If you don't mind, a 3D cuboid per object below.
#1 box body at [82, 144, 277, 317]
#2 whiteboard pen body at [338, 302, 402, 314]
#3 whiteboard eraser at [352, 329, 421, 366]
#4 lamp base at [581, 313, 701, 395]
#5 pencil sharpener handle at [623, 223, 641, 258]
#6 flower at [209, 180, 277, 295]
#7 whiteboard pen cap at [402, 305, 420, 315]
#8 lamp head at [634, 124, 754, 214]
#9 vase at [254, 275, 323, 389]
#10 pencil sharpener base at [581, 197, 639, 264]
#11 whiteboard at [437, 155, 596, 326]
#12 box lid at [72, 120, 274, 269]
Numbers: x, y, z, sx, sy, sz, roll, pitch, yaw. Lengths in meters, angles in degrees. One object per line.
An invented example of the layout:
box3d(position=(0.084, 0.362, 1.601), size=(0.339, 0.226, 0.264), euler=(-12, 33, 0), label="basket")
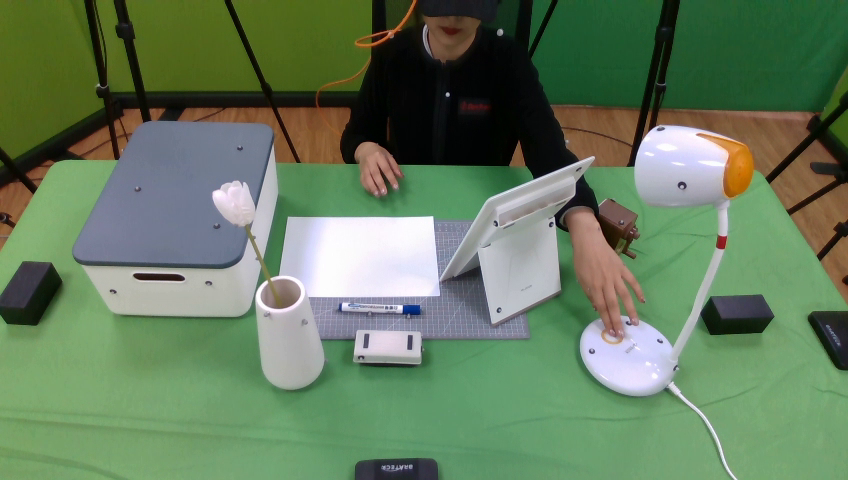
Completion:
box3d(position=(-0.421, -0.041, 1.108), size=(0.254, 0.161, 0.361), euler=(2, 46, -3), label="box body")
box3d(position=(-0.083, 0.121, 1.074), size=(0.141, 0.017, 0.017), euler=(3, 46, -2), label="whiteboard pen body")
box3d(position=(-0.061, 0.180, 1.005), size=(0.113, 0.042, 0.055), euler=(3, 48, -3), label="whiteboard eraser")
box3d(position=(0.361, 0.145, 0.973), size=(0.178, 0.181, 0.160), euler=(34, 53, 23), label="lamp base")
box3d(position=(0.399, 0.003, 1.146), size=(0.030, 0.068, 0.036), euler=(35, 45, 26), label="pencil sharpener handle")
box3d(position=(-0.217, 0.075, 0.871), size=(0.044, 0.363, 0.038), euler=(-29, 36, -19), label="flower")
box3d(position=(-0.024, 0.123, 1.076), size=(0.033, 0.018, 0.018), euler=(1, 46, 1), label="whiteboard pen cap")
box3d(position=(0.351, -0.089, 0.775), size=(0.112, 0.113, 0.122), euler=(-30, 30, -28), label="lamp head")
box3d(position=(-0.210, 0.143, 0.921), size=(0.098, 0.201, 0.097), euler=(1, 46, -1), label="vase")
box3d(position=(0.362, -0.016, 1.178), size=(0.076, 0.107, 0.061), euler=(35, 53, 26), label="pencil sharpener base")
box3d(position=(0.180, 0.024, 1.029), size=(0.217, 0.306, 0.143), euler=(-22, 70, -23), label="whiteboard")
box3d(position=(-0.417, -0.094, 1.056), size=(0.263, 0.015, 0.369), euler=(1, 47, -3), label="box lid")
